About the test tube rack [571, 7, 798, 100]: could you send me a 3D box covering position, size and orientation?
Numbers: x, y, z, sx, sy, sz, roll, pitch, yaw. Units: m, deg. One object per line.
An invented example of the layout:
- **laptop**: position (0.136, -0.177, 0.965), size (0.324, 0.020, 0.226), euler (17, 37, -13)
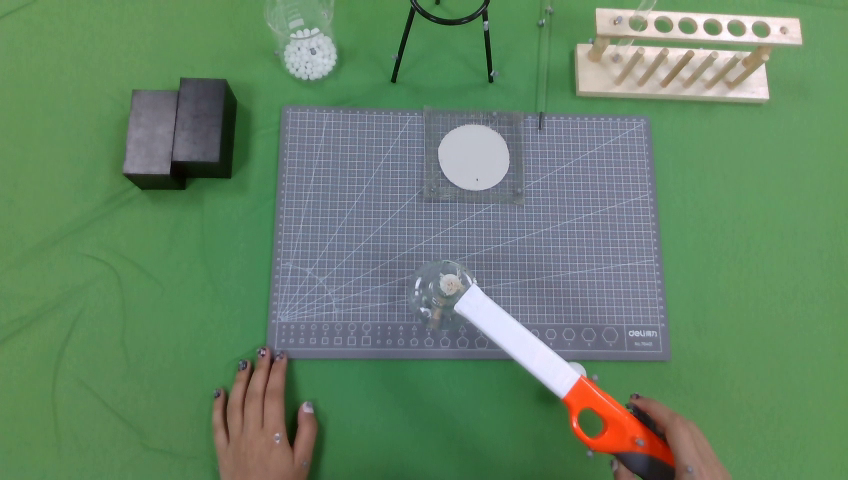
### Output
- **test tube rack**: position (0.310, -0.223, 0.732), size (0.242, 0.085, 0.066), euler (1, 76, -3)

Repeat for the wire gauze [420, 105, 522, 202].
- **wire gauze**: position (0.056, -0.106, 0.725), size (0.125, 0.011, 0.121), euler (2, 75, -2)

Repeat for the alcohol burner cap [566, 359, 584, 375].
- **alcohol burner cap**: position (0.157, 0.145, 0.657), size (0.034, 0.048, 0.033), euler (1, 75, -2)

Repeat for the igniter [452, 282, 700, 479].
- **igniter**: position (0.138, 0.139, 0.550), size (0.276, 0.025, 0.057), euler (40, 82, 6)

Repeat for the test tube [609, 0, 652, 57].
- **test tube**: position (0.239, -0.255, 0.685), size (0.017, 0.151, 0.017), euler (1, 73, -2)

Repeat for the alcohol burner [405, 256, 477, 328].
- **alcohol burner**: position (0.020, 0.051, 0.631), size (0.078, 0.119, 0.077), euler (1, 74, -5)

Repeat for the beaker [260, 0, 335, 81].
- **beaker**: position (-0.139, -0.239, 0.700), size (0.084, 0.100, 0.074), euler (-38, 81, -12)

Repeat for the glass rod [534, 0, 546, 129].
- **glass rod**: position (0.147, -0.232, 0.762), size (0.008, 0.008, 0.199), euler (6, 78, -2)

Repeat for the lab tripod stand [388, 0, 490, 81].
- **lab tripod stand**: position (0.018, -0.254, 0.696), size (0.148, 0.132, 0.147), euler (0, 75, -1)
